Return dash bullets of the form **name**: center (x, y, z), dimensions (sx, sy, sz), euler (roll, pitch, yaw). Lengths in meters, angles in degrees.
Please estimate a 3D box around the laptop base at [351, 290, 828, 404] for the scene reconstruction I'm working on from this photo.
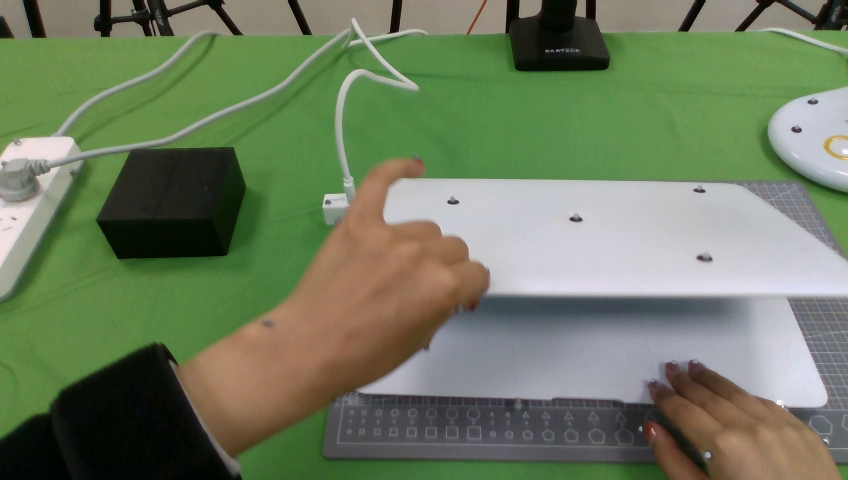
- **laptop base**: center (0.125, 0.033, 0.526), dimensions (0.354, 0.023, 0.233), euler (1, 50, 2)

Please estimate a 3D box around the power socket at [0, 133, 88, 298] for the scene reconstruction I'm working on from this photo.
- **power socket**: center (-0.398, -0.031, 0.586), dimensions (0.072, 0.033, 0.224), euler (-1, 46, -1)

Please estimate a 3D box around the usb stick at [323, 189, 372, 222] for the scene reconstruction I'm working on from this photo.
- **usb stick**: center (-0.064, -0.033, 0.574), dimensions (0.059, 0.027, 0.021), euler (2, 43, 0)

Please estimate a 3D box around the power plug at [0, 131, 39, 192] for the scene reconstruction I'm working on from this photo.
- **power plug**: center (-0.389, -0.078, 0.563), dimensions (0.053, 0.073, 0.035), euler (11, 29, -19)

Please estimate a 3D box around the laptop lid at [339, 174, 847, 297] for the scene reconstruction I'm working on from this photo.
- **laptop lid**: center (0.124, -0.015, 0.490), dimensions (0.356, 0.013, 0.240), euler (1, 24, 4)

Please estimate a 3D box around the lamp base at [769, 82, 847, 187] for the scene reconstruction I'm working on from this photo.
- **lamp base**: center (0.459, -0.168, 0.597), dimensions (0.159, 0.182, 0.179), euler (27, 51, 25)
